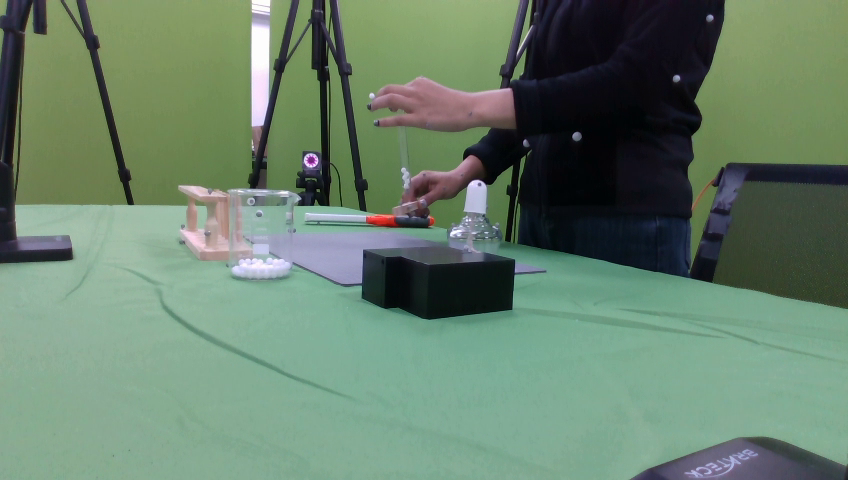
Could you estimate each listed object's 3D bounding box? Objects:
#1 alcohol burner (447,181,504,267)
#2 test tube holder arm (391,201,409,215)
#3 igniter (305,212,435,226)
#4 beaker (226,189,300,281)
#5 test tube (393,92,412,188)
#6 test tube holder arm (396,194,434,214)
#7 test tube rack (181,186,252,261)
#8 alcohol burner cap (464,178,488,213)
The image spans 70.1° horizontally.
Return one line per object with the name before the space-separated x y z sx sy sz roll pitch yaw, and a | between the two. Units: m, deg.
alcohol burner | 0.070 -0.024 0.828 0.078 0.119 0.078 0 6 0
test tube holder arm | -0.032 -0.054 0.993 0.010 0.015 0.088 -6 8 21
igniter | -0.114 -0.046 1.296 0.277 0.025 0.057 1 -2 -11
beaker | -0.184 -0.007 0.694 0.084 0.100 0.073 -1 8 -29
test tube | -0.033 -0.157 0.948 0.017 0.150 0.017 -6 0 0
test tube holder arm | -0.012 -0.063 1.033 0.013 0.015 0.179 -6 8 20
test tube rack | -0.312 -0.031 0.893 0.067 0.085 0.241 -1 8 -27
alcohol burner cap | 0.073 -0.060 0.825 0.034 0.048 0.034 7 5 0
